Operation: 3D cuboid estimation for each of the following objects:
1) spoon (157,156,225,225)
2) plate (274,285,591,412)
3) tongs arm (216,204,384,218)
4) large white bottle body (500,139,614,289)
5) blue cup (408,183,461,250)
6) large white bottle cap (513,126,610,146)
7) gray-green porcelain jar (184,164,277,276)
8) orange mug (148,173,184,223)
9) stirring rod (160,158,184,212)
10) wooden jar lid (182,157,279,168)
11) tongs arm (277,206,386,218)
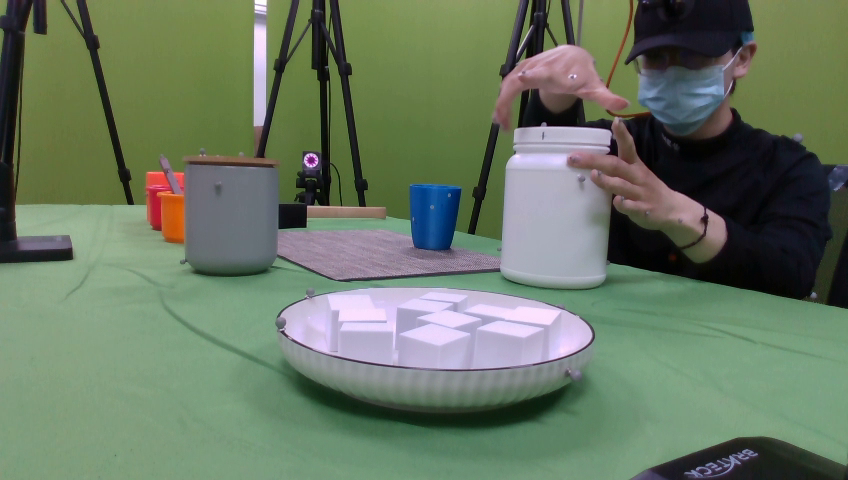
[{"bbox_3d":[-0.425,-0.094,1.117,0.041,0.022,0.194,5,51,29],"label":"spoon"},{"bbox_3d":[0.005,0.069,0.408,0.208,0.039,0.207,2,7,0],"label":"plate"},{"bbox_3d":[-0.288,-0.069,1.435,0.389,0.027,0.028,0,-1,-17],"label":"tongs arm"},{"bbox_3d":[0.163,-0.041,0.744,0.131,0.184,0.130,2,7,0],"label":"large white bottle body"},{"bbox_3d":[0.015,-0.038,0.969,0.093,0.100,0.092,3,9,0],"label":"blue cup"},{"bbox_3d":[0.166,-0.126,0.734,0.115,0.018,0.115,3,7,0],"label":"large white bottle cap"},{"bbox_3d":[-0.230,-0.025,0.722,0.106,0.126,0.106,3,7,0],"label":"gray-green porcelain jar"},{"bbox_3d":[-0.490,-0.087,1.222,0.127,0.101,0.083,-9,13,-38],"label":"orange mug"},{"bbox_3d":[-0.391,-0.070,0.972,0.014,0.006,0.175,-1,50,-49],"label":"stirring rod"},{"bbox_3d":[-0.227,-0.086,0.714,0.108,0.020,0.108,1,6,0],"label":"wooden jar lid"},{"bbox_3d":[-0.251,-0.063,1.360,0.387,0.026,0.050,-1,3,-31],"label":"tongs arm"}]
